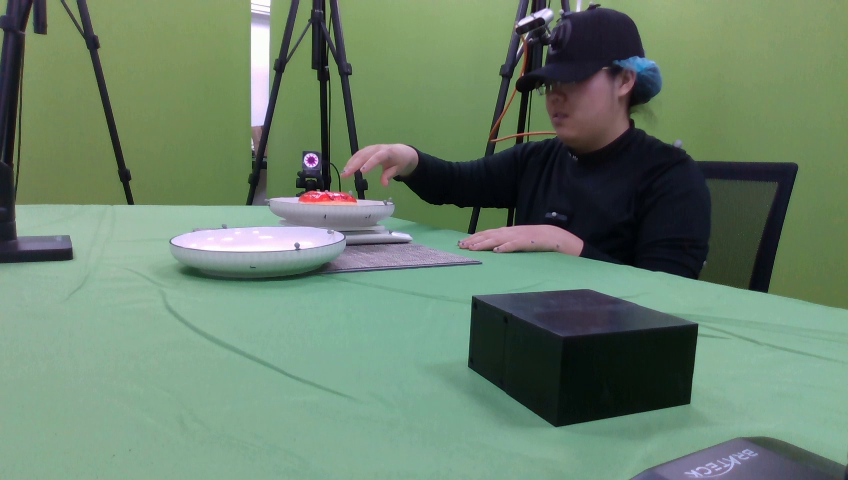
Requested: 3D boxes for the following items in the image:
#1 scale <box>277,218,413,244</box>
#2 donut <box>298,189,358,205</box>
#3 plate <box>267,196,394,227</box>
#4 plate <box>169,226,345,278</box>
[{"bbox_3d":[-0.134,-0.015,1.015,0.202,0.031,0.148,-1,9,-33],"label":"scale"},{"bbox_3d":[-0.158,-0.059,0.996,0.099,0.048,0.099,2,4,0],"label":"donut"},{"bbox_3d":[-0.152,-0.047,0.998,0.208,0.039,0.207,2,6,0],"label":"plate"},{"bbox_3d":[-0.202,0.014,0.748,0.209,0.038,0.209,1,9,0],"label":"plate"}]
